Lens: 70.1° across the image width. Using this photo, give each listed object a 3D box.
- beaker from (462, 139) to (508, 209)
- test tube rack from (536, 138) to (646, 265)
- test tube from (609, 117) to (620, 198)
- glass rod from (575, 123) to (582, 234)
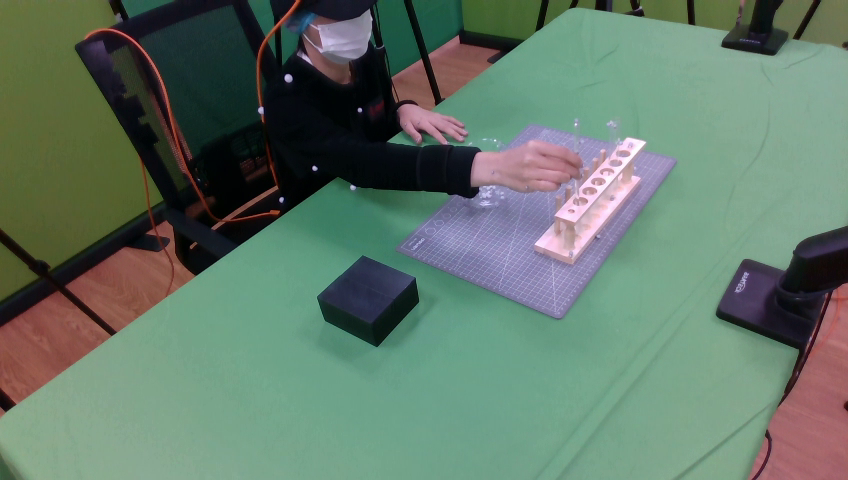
[{"bbox_3d":[0.108,-0.111,1.027,0.073,0.101,0.084,25,49,33],"label":"beaker"},{"bbox_3d":[0.268,-0.071,0.964,0.066,0.085,0.243,23,49,32],"label":"test tube rack"},{"bbox_3d":[0.298,-0.125,0.946,0.017,0.151,0.017,-8,42,8],"label":"test tube"},{"bbox_3d":[0.221,-0.082,0.863,0.008,0.201,0.008,-8,43,8],"label":"glass rod"}]
